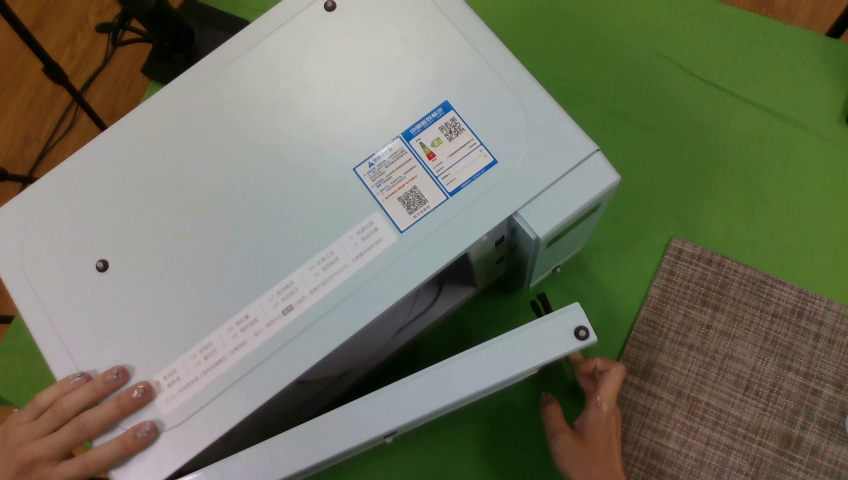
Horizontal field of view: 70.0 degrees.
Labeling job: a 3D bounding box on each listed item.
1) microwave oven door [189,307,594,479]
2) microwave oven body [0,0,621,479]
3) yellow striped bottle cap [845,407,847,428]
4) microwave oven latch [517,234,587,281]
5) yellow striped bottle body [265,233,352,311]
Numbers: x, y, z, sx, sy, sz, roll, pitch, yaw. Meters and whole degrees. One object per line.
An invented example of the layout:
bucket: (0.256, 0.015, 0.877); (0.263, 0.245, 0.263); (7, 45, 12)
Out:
microwave oven door: (-0.031, 0.152, 0.541); (0.356, 0.245, 0.039); (-24, 74, 1)
microwave oven body: (-0.103, -0.017, 0.593); (0.441, 0.261, 0.324); (-38, 76, -2)
yellow striped bottle cap: (0.449, 0.181, 0.606); (0.044, 0.019, 0.044); (-2, 76, 8)
microwave oven latch: (0.139, 0.010, 0.657); (0.079, 0.029, 0.030); (-36, 76, -1)
yellow striped bottle body: (-0.113, 0.032, 0.592); (0.063, 0.121, 0.062); (-1, 76, 6)
